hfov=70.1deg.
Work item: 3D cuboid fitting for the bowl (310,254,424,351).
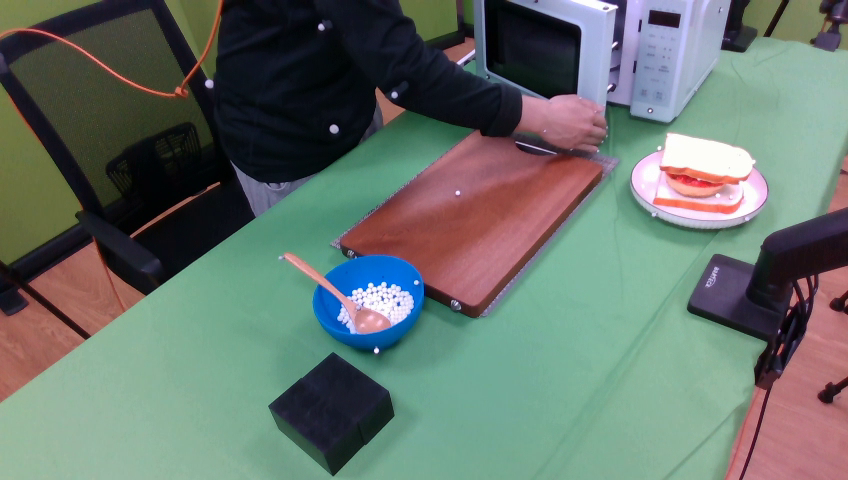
[{"bbox_3d":[-0.072,0.097,0.821,0.151,0.077,0.150,-4,40,4],"label":"bowl"}]

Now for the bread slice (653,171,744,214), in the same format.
[{"bbox_3d":[0.453,-0.084,0.992,0.131,0.019,0.105,11,45,21],"label":"bread slice"}]

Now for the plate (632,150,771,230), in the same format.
[{"bbox_3d":[0.447,-0.081,0.988,0.207,0.039,0.206,-4,40,4],"label":"plate"}]

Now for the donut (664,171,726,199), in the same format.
[{"bbox_3d":[0.438,-0.105,0.972,0.099,0.048,0.098,-10,42,10],"label":"donut"}]

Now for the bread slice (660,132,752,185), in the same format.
[{"bbox_3d":[0.443,-0.127,0.951,0.134,0.018,0.107,14,44,14],"label":"bread slice"}]

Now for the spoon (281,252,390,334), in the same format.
[{"bbox_3d":[-0.122,0.070,0.812,0.193,0.022,0.042,38,64,15],"label":"spoon"}]

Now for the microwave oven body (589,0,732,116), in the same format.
[{"bbox_3d":[0.377,-0.463,1.267,0.438,0.261,0.327,21,49,30],"label":"microwave oven body"}]

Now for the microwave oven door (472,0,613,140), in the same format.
[{"bbox_3d":[0.217,-0.367,1.171,0.039,0.245,0.352,-29,45,-23],"label":"microwave oven door"}]

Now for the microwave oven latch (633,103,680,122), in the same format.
[{"bbox_3d":[0.443,-0.249,1.157,0.078,0.029,0.030,21,49,30],"label":"microwave oven latch"}]
